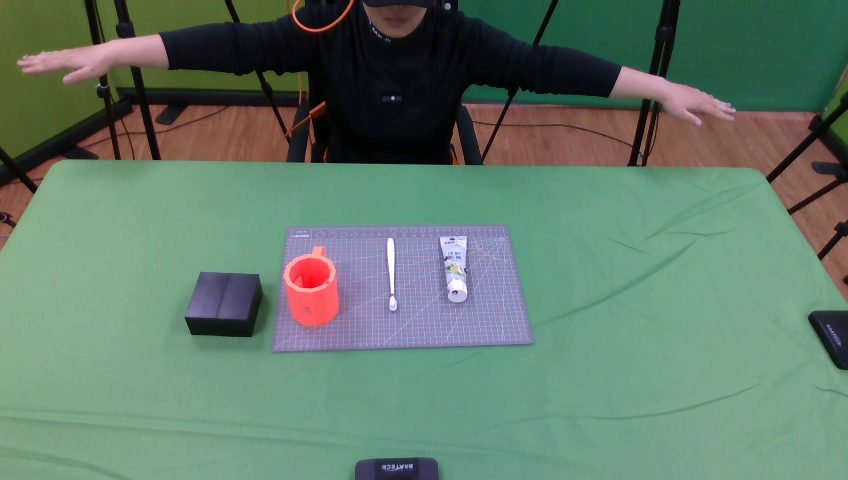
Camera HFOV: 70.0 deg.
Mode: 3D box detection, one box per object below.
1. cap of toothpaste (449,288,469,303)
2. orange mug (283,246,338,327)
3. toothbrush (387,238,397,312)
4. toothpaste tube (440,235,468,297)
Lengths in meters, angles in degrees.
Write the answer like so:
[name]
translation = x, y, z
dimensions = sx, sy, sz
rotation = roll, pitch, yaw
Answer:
[cap of toothpaste]
translation = 0.062, 0.099, 1.093
dimensions = 0.037, 0.037, 0.011
rotation = 1, 43, -2
[orange mug]
translation = -0.193, 0.073, 1.056
dimensions = 0.083, 0.101, 0.125
rotation = 5, 50, 1
[toothbrush]
translation = -0.061, 0.059, 1.136
dimensions = 0.014, 0.017, 0.180
rotation = -11, 45, 5
[toothpaste tube]
translation = 0.062, 0.046, 1.150
dimensions = 0.055, 0.035, 0.164
rotation = 3, 43, -6
